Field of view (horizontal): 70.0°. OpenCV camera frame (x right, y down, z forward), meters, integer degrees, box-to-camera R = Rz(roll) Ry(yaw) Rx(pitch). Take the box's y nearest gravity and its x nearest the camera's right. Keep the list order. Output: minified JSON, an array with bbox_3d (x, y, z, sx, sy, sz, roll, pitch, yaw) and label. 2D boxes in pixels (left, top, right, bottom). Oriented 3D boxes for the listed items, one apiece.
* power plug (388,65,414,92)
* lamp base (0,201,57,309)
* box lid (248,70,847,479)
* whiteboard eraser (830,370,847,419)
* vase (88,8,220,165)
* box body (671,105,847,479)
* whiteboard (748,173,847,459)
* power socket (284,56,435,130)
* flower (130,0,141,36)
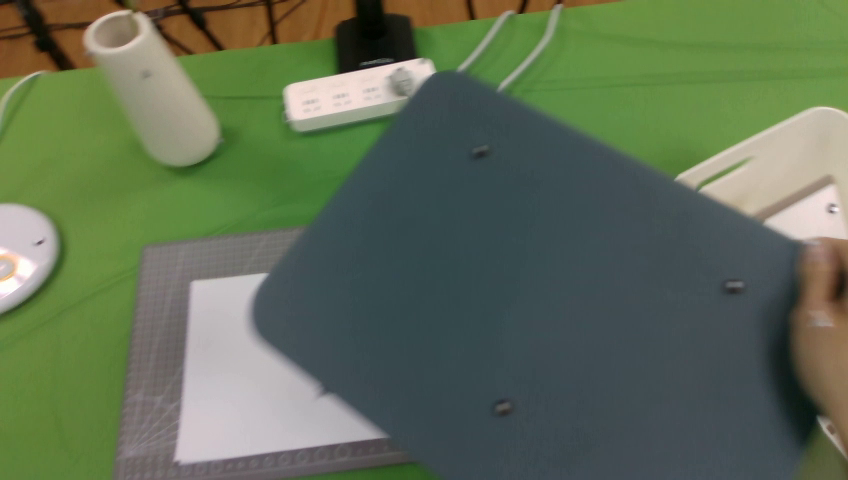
[{"bbox_3d":[-0.030,-0.202,0.812,0.035,0.053,0.072,-3,66,2],"label":"power plug"},{"bbox_3d":[-0.549,-0.023,0.679,0.178,0.182,0.160,22,63,19],"label":"lamp base"},{"bbox_3d":[0.081,0.043,0.424,0.369,0.015,0.262,31,76,16],"label":"box lid"},{"bbox_3d":[0.423,0.120,0.580,0.112,0.042,0.055,-36,57,-18],"label":"whiteboard eraser"},{"bbox_3d":[-0.329,-0.183,0.748,0.098,0.202,0.097,-2,59,4],"label":"vase"},{"bbox_3d":[0.387,0.082,0.574,0.254,0.162,0.360,-26,62,-11],"label":"box body"},{"bbox_3d":[0.385,0.077,0.590,0.217,0.145,0.302,-26,61,-14],"label":"whiteboard"},{"bbox_3d":[-0.085,-0.205,0.843,0.227,0.033,0.071,-12,61,-4],"label":"power socket"},{"bbox_3d":[-0.313,-0.220,0.674,0.038,0.363,0.044,40,60,5],"label":"flower"}]
